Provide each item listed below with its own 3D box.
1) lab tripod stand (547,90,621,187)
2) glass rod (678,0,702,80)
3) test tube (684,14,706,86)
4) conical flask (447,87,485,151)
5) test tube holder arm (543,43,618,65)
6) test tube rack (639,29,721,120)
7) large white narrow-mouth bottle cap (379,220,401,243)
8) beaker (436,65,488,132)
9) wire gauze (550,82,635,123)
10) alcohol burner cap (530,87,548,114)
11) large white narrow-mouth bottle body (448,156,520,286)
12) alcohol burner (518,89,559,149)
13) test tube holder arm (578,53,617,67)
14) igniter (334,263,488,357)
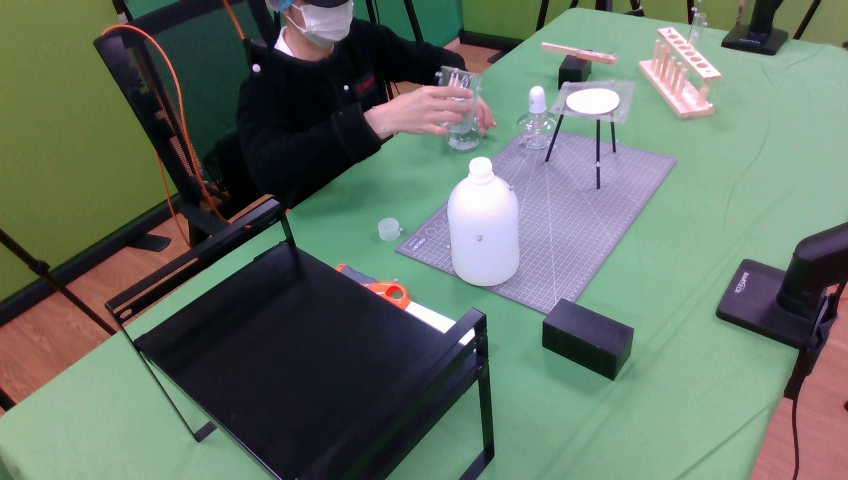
[{"bbox_3d":[0.289,-0.184,1.062,0.148,0.132,0.147,-6,41,6],"label":"lab tripod stand"},{"bbox_3d":[0.543,-0.417,1.233,0.008,0.200,0.008,1,39,0],"label":"glass rod"},{"bbox_3d":[0.540,-0.378,1.215,0.017,0.151,0.017,-2,44,3],"label":"test tube"},{"bbox_3d":[0.077,-0.236,1.164,0.075,0.122,0.075,-4,55,6],"label":"conical flask"},{"bbox_3d":[0.345,-0.413,1.341,0.177,0.015,0.013,25,49,32],"label":"test tube holder arm"},{"bbox_3d":[0.527,-0.351,1.262,0.067,0.085,0.241,-8,40,1],"label":"test tube rack"},{"bbox_3d":[-0.057,-0.015,1.011,0.038,0.024,0.037,-4,40,4],"label":"large white narrow-mouth bottle cap"},{"bbox_3d":[0.062,-0.241,1.031,0.074,0.100,0.084,16,21,9],"label":"beaker"},{"bbox_3d":[0.285,-0.236,1.020,0.124,0.011,0.121,10,44,22],"label":"wire gauze"},{"bbox_3d":[0.212,-0.262,1.126,0.034,0.048,0.033,-9,36,7],"label":"alcohol burner cap"},{"bbox_3d":[0.086,-0.032,0.869,0.102,0.195,0.101,-4,40,4],"label":"large white narrow-mouth bottle body"},{"bbox_3d":[0.218,-0.235,1.149,0.078,0.119,0.077,-5,43,5],"label":"alcohol burner"},{"bbox_3d":[0.376,-0.393,1.314,0.087,0.015,0.010,26,50,32],"label":"test tube holder arm"},{"bbox_3d":[-0.030,0.095,0.872,0.274,0.025,0.057,23,60,31],"label":"igniter"}]
